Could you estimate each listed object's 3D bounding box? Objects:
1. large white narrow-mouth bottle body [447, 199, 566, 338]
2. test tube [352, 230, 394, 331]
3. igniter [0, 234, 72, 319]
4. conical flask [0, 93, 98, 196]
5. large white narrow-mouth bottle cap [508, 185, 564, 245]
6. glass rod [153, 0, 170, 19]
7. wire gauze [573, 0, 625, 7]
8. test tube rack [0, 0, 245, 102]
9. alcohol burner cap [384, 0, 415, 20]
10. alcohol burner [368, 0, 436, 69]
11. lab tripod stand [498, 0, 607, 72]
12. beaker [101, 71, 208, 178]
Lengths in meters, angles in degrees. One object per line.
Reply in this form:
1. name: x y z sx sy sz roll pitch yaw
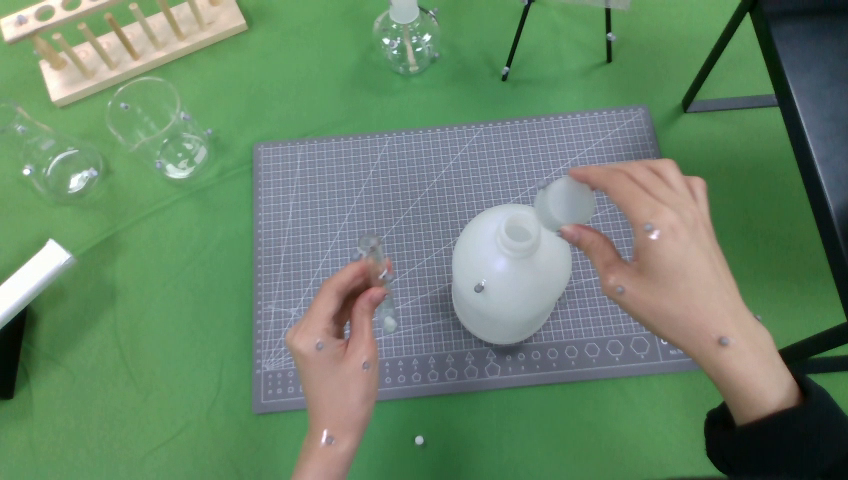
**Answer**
1. large white narrow-mouth bottle body: 0.071 0.021 0.529 0.102 0.196 0.101 -1 71 2
2. test tube: -0.036 0.036 0.458 0.017 0.151 0.017 -1 61 2
3. igniter: -0.445 0.102 0.554 0.057 0.025 0.276 37 72 12
4. conical flask: -0.404 -0.102 0.627 0.075 0.122 0.075 -1 69 2
5. large white narrow-mouth bottle cap: 0.075 -0.016 0.400 0.038 0.024 0.037 0 71 2
6. glass rod: -0.327 -0.314 0.650 0.008 0.201 0.008 -3 64 7
7. wire gauze: 0.149 -0.288 0.601 0.121 0.011 0.124 15 72 5
8. test tube rack: -0.344 -0.255 0.700 0.242 0.086 0.066 -26 71 -8
9. alcohol burner cap: -0.027 -0.261 0.640 0.034 0.048 0.033 0 69 1
10. alcohol burner: -0.025 -0.247 0.674 0.078 0.120 0.077 0 68 1
11. lab tripod stand: 0.144 -0.262 0.664 0.148 0.132 0.147 0 69 0
12. beaker: -0.279 -0.115 0.640 0.074 0.101 0.083 9 71 6
